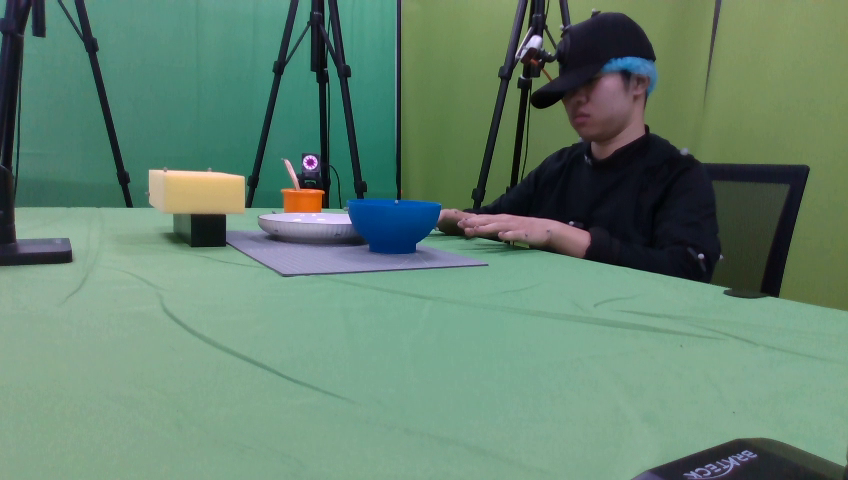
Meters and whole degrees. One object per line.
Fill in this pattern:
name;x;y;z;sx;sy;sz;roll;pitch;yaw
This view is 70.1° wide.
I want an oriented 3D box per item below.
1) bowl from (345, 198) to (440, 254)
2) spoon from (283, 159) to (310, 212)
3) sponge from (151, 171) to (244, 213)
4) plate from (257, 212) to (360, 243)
bowl;-0.051;-0.022;0.952;0.151;0.077;0.151;3;7;0
spoon;-0.279;-0.111;1.324;0.042;0.193;0.021;2;-39;-35
sponge;-0.383;-0.082;1.010;0.119;0.061;0.206;-1;7;-30
plate;-0.189;-0.023;1.072;0.209;0.038;0.209;3;7;0
